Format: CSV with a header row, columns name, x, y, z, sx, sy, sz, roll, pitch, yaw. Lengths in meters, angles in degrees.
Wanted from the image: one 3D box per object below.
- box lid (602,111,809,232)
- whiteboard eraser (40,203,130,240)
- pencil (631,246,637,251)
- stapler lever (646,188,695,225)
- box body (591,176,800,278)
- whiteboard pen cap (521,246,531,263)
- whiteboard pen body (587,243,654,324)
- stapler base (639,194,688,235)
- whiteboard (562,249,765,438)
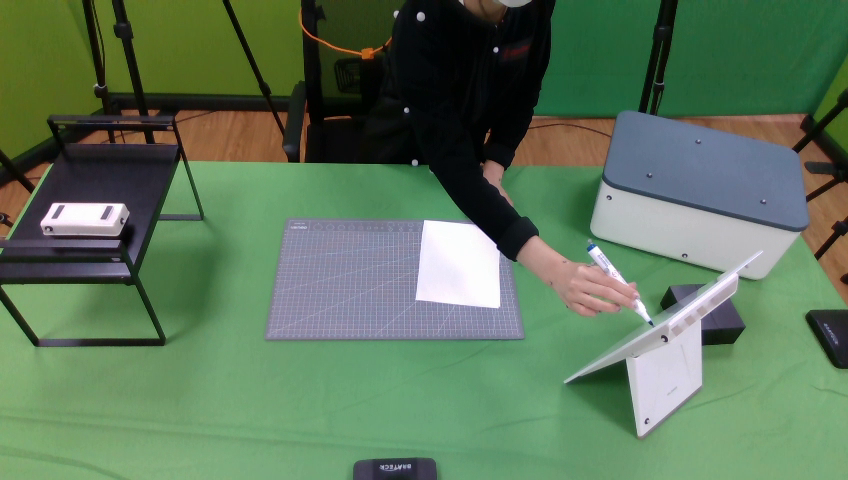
name,x,y,z,sx,sy,sz,roll,pitch,yaw
box lid,0.545,-0.143,1.176,0.371,0.015,0.262,15,47,11
whiteboard eraser,-0.513,-0.028,0.922,0.113,0.042,0.055,1,48,-3
pencil,0.431,-0.060,1.284,0.012,0.012,0.193,3,57,-2
stapler lever,0.515,-0.078,1.265,0.027,0.040,0.117,0,41,-30
box body,0.540,-0.092,1.229,0.363,0.161,0.253,16,47,11
whiteboard pen cap,0.200,0.029,1.188,0.018,0.018,0.033,15,47,9
whiteboard pen body,0.280,0.063,0.858,0.017,0.017,0.140,-33,82,-30
stapler base,0.510,-0.059,1.278,0.041,0.024,0.129,0,39,-30
whiteboard,0.386,0.176,0.905,0.217,0.306,0.143,-26,72,-26
